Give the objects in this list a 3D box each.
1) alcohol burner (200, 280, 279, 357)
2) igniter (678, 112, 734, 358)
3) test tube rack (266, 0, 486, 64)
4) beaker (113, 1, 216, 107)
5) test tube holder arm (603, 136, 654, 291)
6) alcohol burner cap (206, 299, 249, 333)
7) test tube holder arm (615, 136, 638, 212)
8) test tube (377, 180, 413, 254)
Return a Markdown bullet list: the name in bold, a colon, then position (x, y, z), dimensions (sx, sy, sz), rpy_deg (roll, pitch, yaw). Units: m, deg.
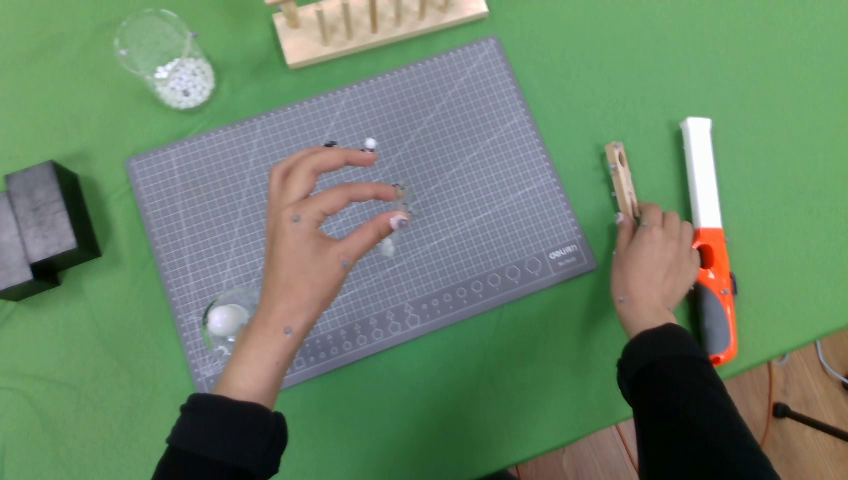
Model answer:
- **alcohol burner**: position (-0.185, 0.075, 0.594), dimensions (0.078, 0.119, 0.077), rpy_deg (1, 78, -3)
- **igniter**: position (0.311, -0.009, 0.674), dimensions (0.057, 0.025, 0.275), rpy_deg (1, 80, -13)
- **test tube rack**: position (-0.050, -0.277, 0.679), dimensions (0.242, 0.085, 0.066), rpy_deg (-16, 81, -5)
- **beaker**: position (-0.271, -0.191, 0.648), dimensions (0.074, 0.100, 0.083), rpy_deg (-18, 81, -5)
- **test tube holder arm**: position (0.228, -0.030, 0.677), dimensions (0.013, 0.015, 0.178), rpy_deg (-7, 81, -26)
- **alcohol burner cap**: position (-0.183, 0.070, 0.558), dimensions (0.034, 0.048, 0.034), rpy_deg (0, 84, -4)
- **test tube holder arm**: position (0.225, -0.075, 0.686), dimensions (0.010, 0.015, 0.087), rpy_deg (-6, 81, -26)
- **test tube**: position (-0.027, -0.015, 0.515), dimensions (0.017, 0.151, 0.017), rpy_deg (3, 72, -8)
